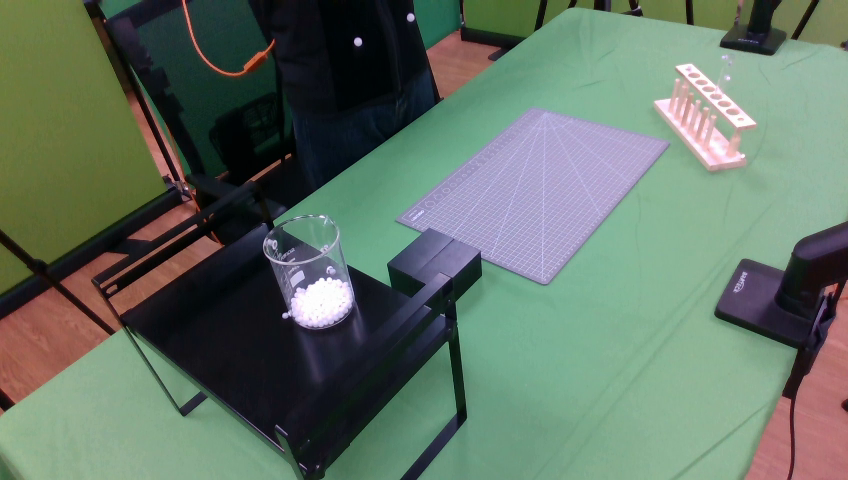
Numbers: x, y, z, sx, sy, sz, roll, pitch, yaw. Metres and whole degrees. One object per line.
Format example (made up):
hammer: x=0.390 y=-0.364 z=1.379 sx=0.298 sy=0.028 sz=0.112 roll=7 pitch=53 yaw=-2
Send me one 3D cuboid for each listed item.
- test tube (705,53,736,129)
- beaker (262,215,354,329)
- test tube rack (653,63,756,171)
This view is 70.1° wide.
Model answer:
test tube: x=0.525 y=-0.260 z=1.074 sx=0.017 sy=0.151 sz=0.017 roll=-2 pitch=44 yaw=3
beaker: x=-0.112 y=0.034 z=0.616 sx=0.073 sy=0.101 sz=0.084 roll=13 pitch=44 yaw=23
test tube rack: x=0.510 y=-0.233 z=1.120 sx=0.067 sy=0.085 sz=0.241 roll=-9 pitch=41 yaw=-1
